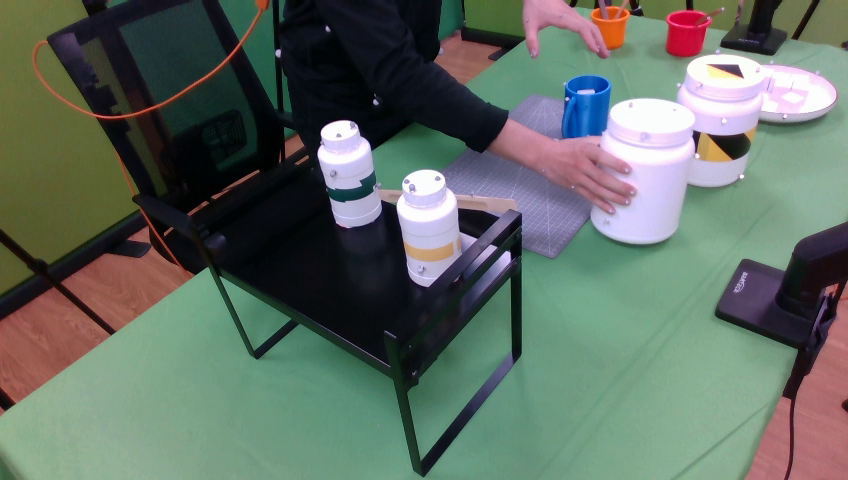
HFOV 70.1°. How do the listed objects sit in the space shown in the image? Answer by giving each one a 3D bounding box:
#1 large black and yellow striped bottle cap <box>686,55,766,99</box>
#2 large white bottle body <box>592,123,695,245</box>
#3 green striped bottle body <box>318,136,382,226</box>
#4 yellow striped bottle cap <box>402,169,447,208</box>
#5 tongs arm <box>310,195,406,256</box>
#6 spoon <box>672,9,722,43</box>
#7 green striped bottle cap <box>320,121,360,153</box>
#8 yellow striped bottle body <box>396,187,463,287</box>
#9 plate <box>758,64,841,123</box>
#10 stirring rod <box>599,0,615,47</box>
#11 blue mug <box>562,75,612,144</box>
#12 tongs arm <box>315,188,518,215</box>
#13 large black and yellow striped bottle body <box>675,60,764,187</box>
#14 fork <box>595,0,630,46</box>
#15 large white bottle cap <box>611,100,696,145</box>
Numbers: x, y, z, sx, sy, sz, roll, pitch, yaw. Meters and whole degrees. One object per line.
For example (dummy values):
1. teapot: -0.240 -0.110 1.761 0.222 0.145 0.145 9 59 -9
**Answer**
1. large black and yellow striped bottle cap: 0.474 -0.258 0.952 0.115 0.019 0.114 -5 41 5
2. large white bottle body: 0.329 -0.100 0.911 0.130 0.185 0.130 -2 36 2
3. green striped bottle body: -0.090 -0.081 0.733 0.063 0.120 0.063 -5 41 4
4. yellow striped bottle cap: 0.000 -0.052 0.604 0.044 0.019 0.044 -5 43 5
5. tongs arm: -0.078 -0.012 0.944 0.028 0.028 0.384 -43 39 -22
6. spoon: 0.606 -0.476 1.345 0.042 0.021 0.193 -6 -3 -2
7. green striped bottle cap: -0.097 -0.120 0.699 0.044 0.020 0.044 -4 40 3
8. yellow striped bottle body: 0.006 -0.013 0.638 0.063 0.121 0.062 -5 41 5
9. plate: 0.695 -0.283 1.189 0.207 0.039 0.206 -4 40 4
10. stirring rod: 0.437 -0.551 1.462 0.014 0.006 0.175 -11 83 1
11. blue mug: 0.298 -0.239 1.143 0.117 0.106 0.081 -37 48 -29
12. tongs arm: -0.028 -0.060 0.988 0.382 0.027 0.051 10 45 36
13. large black and yellow striped bottle body: 0.482 -0.196 1.008 0.131 0.185 0.130 -4 41 4
14. fork: 0.479 -0.556 1.452 0.028 0.019 0.207 41 103 40
15. large white bottle cap: 0.326 -0.169 0.861 0.115 0.018 0.114 -2 36 2
